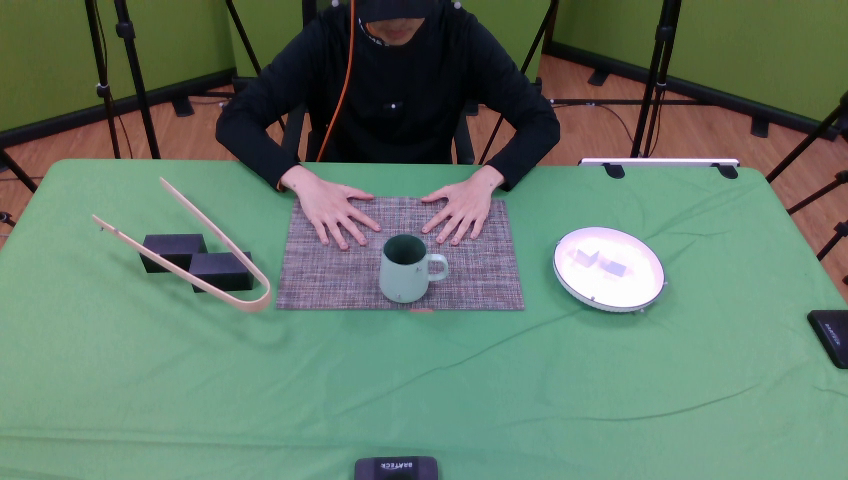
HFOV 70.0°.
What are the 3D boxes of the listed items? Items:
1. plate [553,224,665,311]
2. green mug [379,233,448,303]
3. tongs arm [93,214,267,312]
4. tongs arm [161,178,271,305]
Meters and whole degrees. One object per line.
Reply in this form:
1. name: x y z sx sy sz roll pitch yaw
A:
1. plate: 0.349 0.055 1.159 0.209 0.038 0.208 2 47 -2
2. green mug: -0.019 0.050 1.084 0.125 0.105 0.092 -1 46 -4
3. tongs arm: -0.434 0.031 1.063 0.383 0.026 0.050 28 47 21
4. tongs arm: -0.386 -0.009 1.108 0.028 0.028 0.385 -29 54 -36
